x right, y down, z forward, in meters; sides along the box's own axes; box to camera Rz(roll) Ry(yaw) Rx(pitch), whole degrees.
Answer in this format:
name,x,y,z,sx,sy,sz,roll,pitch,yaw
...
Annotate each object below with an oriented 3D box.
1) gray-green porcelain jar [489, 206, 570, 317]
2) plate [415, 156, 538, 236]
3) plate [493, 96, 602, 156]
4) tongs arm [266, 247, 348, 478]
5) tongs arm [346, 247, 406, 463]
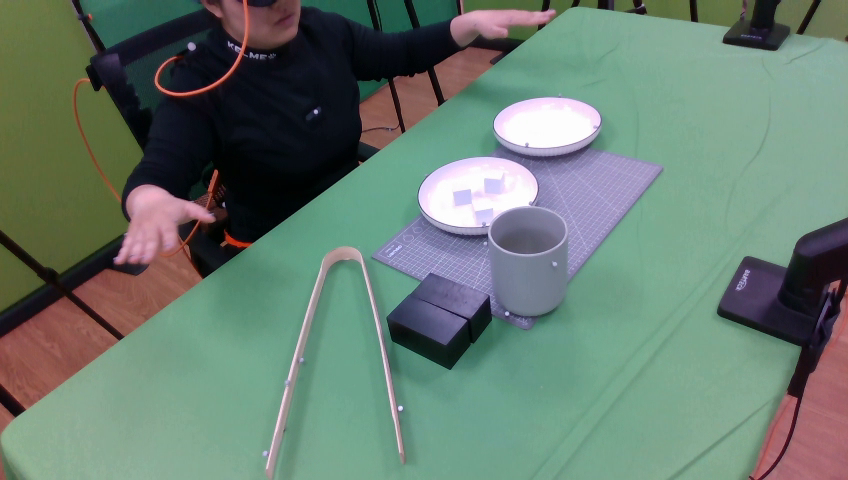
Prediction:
name,x,y,z,sx,sy,sz,roll,pitch,yaw
gray-green porcelain jar,0.145,0.034,0.828,0.106,0.127,0.105,-5,40,5
plate,0.090,-0.072,1.034,0.207,0.039,0.206,-5,40,5
plate,0.238,-0.218,1.179,0.209,0.038,0.208,-4,39,4
tongs arm,-0.151,0.143,0.831,0.051,0.026,0.383,-5,39,5
tongs arm,-0.069,0.133,0.832,0.028,0.028,0.384,-16,40,-3
